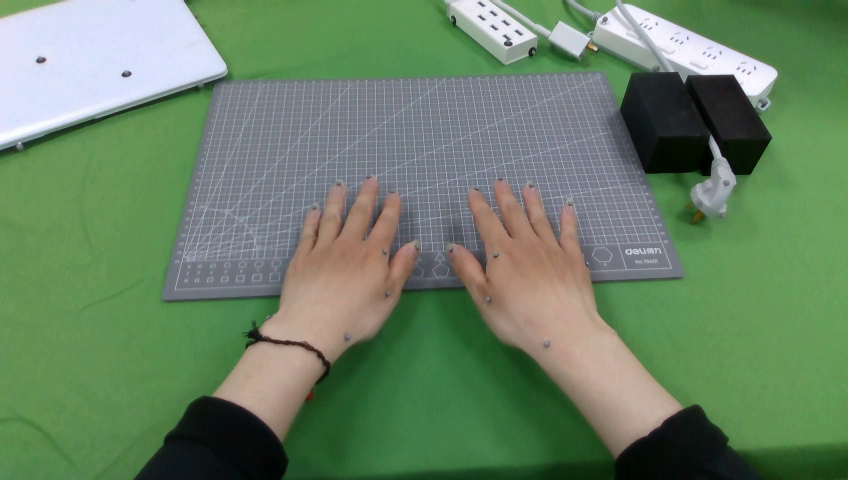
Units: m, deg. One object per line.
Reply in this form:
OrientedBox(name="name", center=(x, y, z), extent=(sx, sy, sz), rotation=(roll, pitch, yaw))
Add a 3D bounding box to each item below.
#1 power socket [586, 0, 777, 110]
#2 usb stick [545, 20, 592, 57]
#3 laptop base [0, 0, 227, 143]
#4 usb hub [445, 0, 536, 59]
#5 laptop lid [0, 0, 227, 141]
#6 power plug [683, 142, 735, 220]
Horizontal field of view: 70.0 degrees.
OrientedBox(name="power socket", center=(0.300, -0.223, 0.712), extent=(0.225, 0.033, 0.072), rotation=(37, 59, 25))
OrientedBox(name="usb stick", center=(0.177, -0.240, 0.728), extent=(0.059, 0.027, 0.021), rotation=(26, 10, 2))
OrientedBox(name="laptop base", center=(-0.431, -0.201, 0.691), extent=(0.355, 0.023, 0.233), rotation=(-26, 60, -20))
OrientedBox(name="usb hub", center=(0.080, -0.272, 0.752), extent=(0.049, 0.025, 0.124), rotation=(-27, 57, -21))
OrientedBox(name="laptop lid", center=(-0.430, -0.207, 0.681), extent=(0.357, 0.013, 0.239), rotation=(-24, 59, -19))
OrientedBox(name="power plug", center=(0.270, -0.052, 0.572), extent=(0.035, 0.053, 0.072), rotation=(36, 44, 1))
